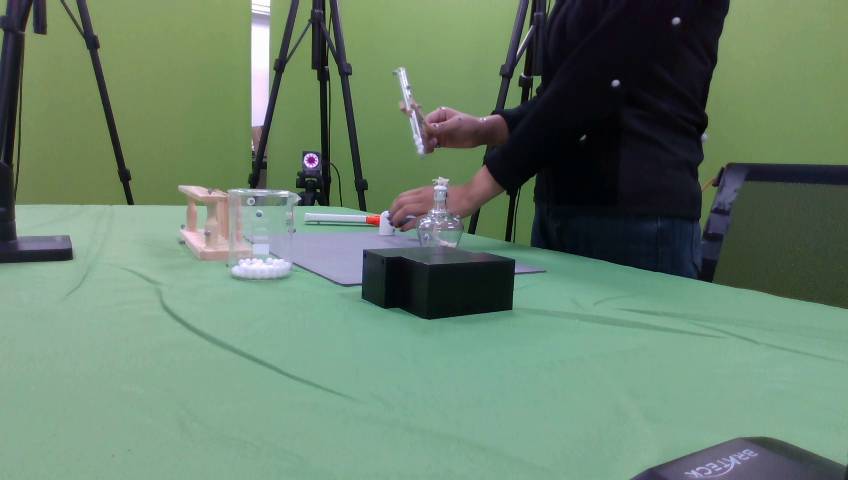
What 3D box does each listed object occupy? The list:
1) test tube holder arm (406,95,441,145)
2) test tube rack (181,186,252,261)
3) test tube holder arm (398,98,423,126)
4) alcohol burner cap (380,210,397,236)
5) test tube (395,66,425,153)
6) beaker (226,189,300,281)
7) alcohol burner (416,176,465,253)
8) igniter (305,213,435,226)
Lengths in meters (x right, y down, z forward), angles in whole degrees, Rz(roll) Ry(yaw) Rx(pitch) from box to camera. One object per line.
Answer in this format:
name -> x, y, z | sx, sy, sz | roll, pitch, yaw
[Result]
test tube holder arm -> 0.002, -0.200, 1.028 | 0.013, 0.015, 0.179 | -15, -17, 14
test tube rack -> -0.312, -0.031, 0.893 | 0.067, 0.085, 0.241 | -1, 8, -27
test tube holder arm -> -0.019, -0.207, 0.988 | 0.010, 0.015, 0.088 | -18, -18, 21
alcohol burner cap -> -0.067, -0.032, 1.129 | 0.034, 0.048, 0.034 | 0, 6, 0
test tube -> -0.022, -0.209, 0.965 | 0.017, 0.150, 0.017 | -13, -12, -3
beaker -> -0.184, -0.007, 0.694 | 0.084, 0.100, 0.073 | -1, 8, -29
alcohol burner -> 0.025, -0.040, 0.935 | 0.078, 0.119, 0.078 | 1, 6, 0
igniter -> -0.114, -0.046, 1.296 | 0.277, 0.025, 0.057 | 1, -2, -11
